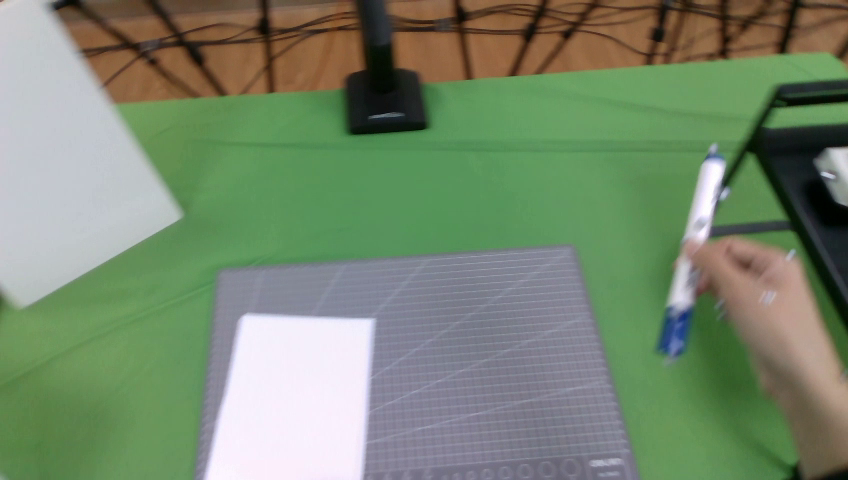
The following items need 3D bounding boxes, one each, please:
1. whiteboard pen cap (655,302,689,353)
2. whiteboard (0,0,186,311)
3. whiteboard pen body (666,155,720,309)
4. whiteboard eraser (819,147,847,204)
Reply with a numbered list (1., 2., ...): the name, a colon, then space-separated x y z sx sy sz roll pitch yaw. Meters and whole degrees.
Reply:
1. whiteboard pen cap: 0.169 0.059 0.411 0.018 0.018 0.033 17 77 11
2. whiteboard: -0.467 -0.114 0.704 0.217 0.308 0.142 -34 43 -20
3. whiteboard pen body: 0.187 0.005 0.425 0.017 0.017 0.140 16 76 11
4. whiteboard eraser: 0.444 -0.061 0.580 0.113 0.042 0.055 -3 55 -3
